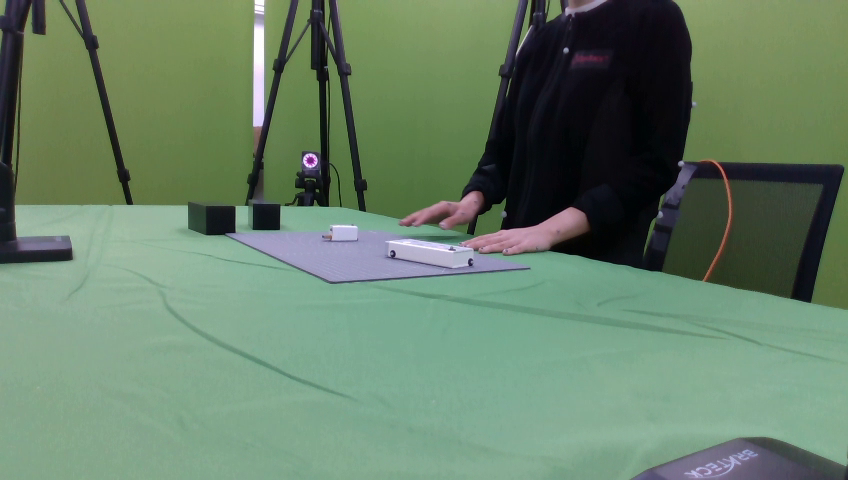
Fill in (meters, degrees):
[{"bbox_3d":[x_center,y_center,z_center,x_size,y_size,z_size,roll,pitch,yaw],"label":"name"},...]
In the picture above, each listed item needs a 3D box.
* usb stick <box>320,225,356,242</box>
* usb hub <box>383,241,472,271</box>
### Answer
[{"bbox_3d":[-0.146,-0.010,1.017,0.059,0.027,0.021,-3,12,-26],"label":"usb stick"},{"bbox_3d":[0.003,0.020,0.842,0.124,0.025,0.050,8,9,39],"label":"usb hub"}]
